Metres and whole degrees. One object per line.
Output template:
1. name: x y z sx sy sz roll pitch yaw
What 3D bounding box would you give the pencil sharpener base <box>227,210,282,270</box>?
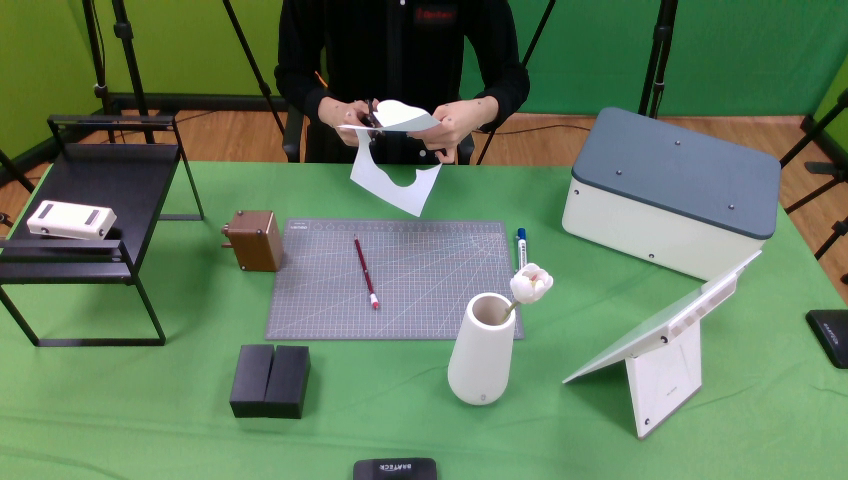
1. pencil sharpener base: -0.311 0.001 1.112 0.077 0.107 0.061 1 47 1

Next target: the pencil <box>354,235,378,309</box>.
1. pencil: -0.112 0.055 1.143 0.012 0.012 0.192 -10 46 -13

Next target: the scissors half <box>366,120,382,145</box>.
1. scissors half: -0.086 -0.191 1.056 0.013 0.040 0.175 -6 5 -11

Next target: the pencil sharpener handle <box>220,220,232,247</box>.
1. pencil sharpener handle: -0.362 -0.009 1.105 0.030 0.068 0.036 1 52 1

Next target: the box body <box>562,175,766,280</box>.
1. box body: 0.486 -0.088 1.222 0.363 0.161 0.253 20 48 15

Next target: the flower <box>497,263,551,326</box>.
1. flower: 0.102 0.121 0.852 0.044 0.363 0.038 -2 64 -10

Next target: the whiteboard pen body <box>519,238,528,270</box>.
1. whiteboard pen body: 0.193 0.035 1.181 0.017 0.017 0.140 6 48 1

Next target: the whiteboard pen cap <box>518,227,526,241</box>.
1. whiteboard pen cap: 0.197 -0.009 1.220 0.018 0.018 0.033 5 50 1

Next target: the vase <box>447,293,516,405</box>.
1. vase: 0.091 0.168 0.921 0.098 0.201 0.097 3 47 -3

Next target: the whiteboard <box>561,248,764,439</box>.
1. whiteboard: 0.386 0.176 0.905 0.217 0.306 0.143 -26 72 -27

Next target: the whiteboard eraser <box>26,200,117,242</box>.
1. whiteboard eraser: -0.532 -0.026 0.919 0.113 0.042 0.055 7 45 3

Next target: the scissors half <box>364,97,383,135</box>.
1. scissors half: -0.087 -0.211 1.049 0.013 0.040 0.174 -11 31 -9

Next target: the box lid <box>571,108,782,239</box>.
1. box lid: 0.491 -0.139 1.168 0.370 0.015 0.262 21 49 15
